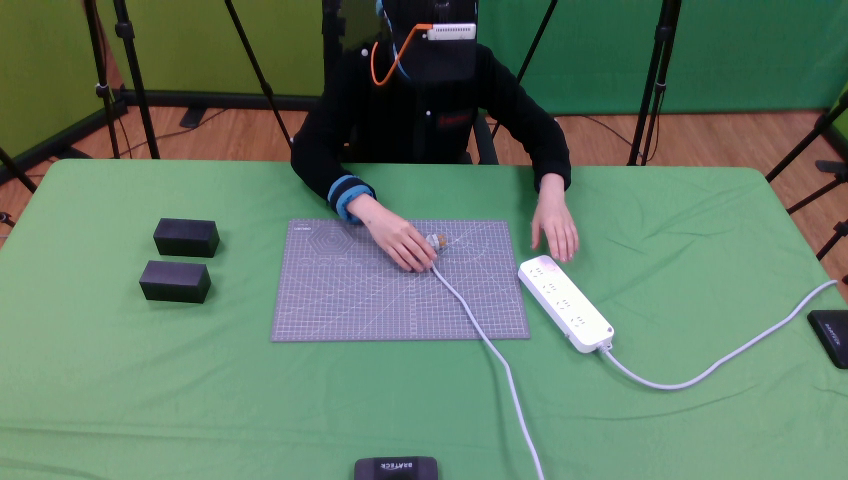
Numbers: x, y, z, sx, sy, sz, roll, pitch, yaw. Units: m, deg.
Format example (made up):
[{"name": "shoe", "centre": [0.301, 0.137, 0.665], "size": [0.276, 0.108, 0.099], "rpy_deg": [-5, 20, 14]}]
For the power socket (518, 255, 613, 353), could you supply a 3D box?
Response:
[{"name": "power socket", "centre": [0.253, 0.112, 1.099], "size": [0.072, 0.033, 0.225], "rpy_deg": [-19, 51, -20]}]

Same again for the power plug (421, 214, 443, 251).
[{"name": "power plug", "centre": [0.017, -0.015, 1.169], "size": [0.035, 0.072, 0.052], "rpy_deg": [11, 13, -13]}]
